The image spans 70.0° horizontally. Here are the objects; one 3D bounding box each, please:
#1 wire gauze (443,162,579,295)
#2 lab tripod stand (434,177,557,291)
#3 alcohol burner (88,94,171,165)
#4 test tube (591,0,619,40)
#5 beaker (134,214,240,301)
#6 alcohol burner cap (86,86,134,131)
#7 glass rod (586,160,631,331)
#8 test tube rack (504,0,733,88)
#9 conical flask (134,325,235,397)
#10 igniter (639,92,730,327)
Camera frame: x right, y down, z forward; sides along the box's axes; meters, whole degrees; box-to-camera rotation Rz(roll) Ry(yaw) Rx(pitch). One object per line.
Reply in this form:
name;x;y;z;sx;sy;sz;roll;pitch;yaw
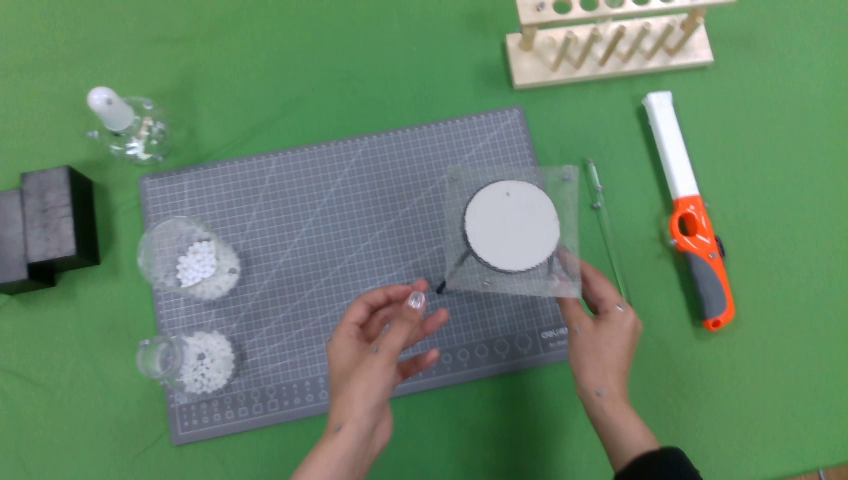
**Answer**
wire gauze;0.079;-0.012;0.550;0.125;0.011;0.121;3;79;-1
lab tripod stand;0.073;0.002;0.616;0.148;0.132;0.147;0;79;-1
alcohol burner;-0.319;-0.125;0.645;0.078;0.119;0.077;0;78;0
test tube;0.204;-0.262;0.656;0.017;0.151;0.017;0;77;1
beaker;-0.233;0.023;0.619;0.084;0.100;0.074;24;78;3
alcohol burner cap;-0.319;-0.136;0.611;0.034;0.048;0.033;0;71;-1
glass rod;0.209;0.004;0.687;0.008;0.008;0.199;-10;81;-4
test tube rack;0.222;-0.239;0.702;0.242;0.085;0.066;-8;77;-3
conical flask;-0.235;0.115;0.587;0.075;0.122;0.075;0;77;-2
igniter;0.296;-0.040;0.689;0.057;0.025;0.275;-8;78;-13
